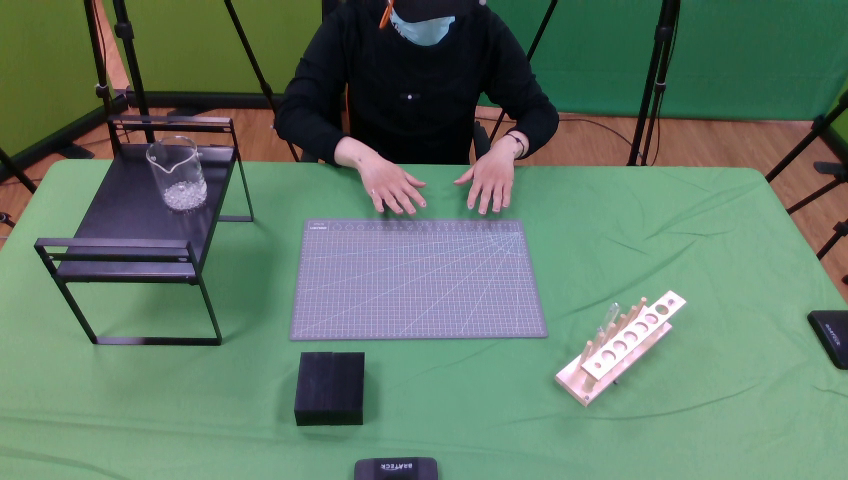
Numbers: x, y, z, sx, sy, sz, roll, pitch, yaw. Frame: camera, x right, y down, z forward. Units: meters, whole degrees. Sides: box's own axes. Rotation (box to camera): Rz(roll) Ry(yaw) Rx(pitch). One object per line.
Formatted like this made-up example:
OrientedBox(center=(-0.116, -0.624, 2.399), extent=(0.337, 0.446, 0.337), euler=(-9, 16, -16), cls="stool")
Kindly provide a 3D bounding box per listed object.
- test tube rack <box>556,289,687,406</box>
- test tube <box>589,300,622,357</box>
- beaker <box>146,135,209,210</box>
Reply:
OrientedBox(center=(0.332, 0.165, 1.014), extent=(0.242, 0.085, 0.066), euler=(-31, 55, -28), cls="test tube rack")
OrientedBox(center=(0.288, 0.144, 0.970), extent=(0.017, 0.151, 0.017), euler=(2, 49, -2), cls="test tube")
OrientedBox(center=(-0.387, -0.102, 0.961), extent=(0.074, 0.101, 0.083), euler=(-5, 48, -7), cls="beaker")
